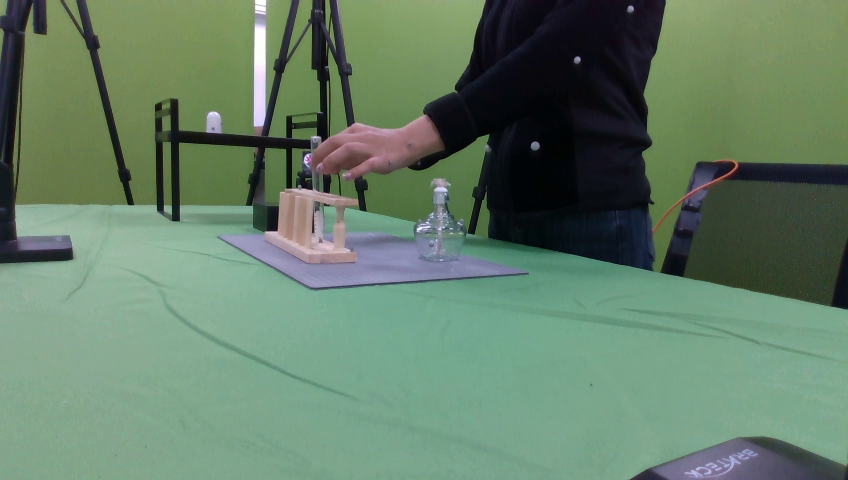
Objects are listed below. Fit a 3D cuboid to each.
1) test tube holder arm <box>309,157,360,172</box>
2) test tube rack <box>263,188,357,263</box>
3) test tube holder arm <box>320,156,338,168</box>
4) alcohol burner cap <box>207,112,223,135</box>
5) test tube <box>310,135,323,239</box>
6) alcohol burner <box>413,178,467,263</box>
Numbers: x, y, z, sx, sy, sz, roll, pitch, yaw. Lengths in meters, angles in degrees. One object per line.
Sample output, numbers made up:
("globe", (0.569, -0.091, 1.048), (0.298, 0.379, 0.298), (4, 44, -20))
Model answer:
("test tube holder arm", (-0.154, -0.132, 1.066), (0.013, 0.015, 0.179), (-1, 2, 18))
("test tube rack", (-0.175, -0.028, 0.890), (0.067, 0.085, 0.241), (0, 8, -28))
("test tube holder arm", (-0.159, -0.131, 1.021), (0.010, 0.015, 0.088), (-3, 2, 5))
("alcohol burner cap", (-0.440, -0.245, 1.271), (0.034, 0.048, 0.034), (2, 8, 0))
("test tube", (-0.156, -0.076, 0.877), (0.017, 0.150, 0.017), (0, 7, 0))
("alcohol burner", (0.022, -0.029, 0.864), (0.078, 0.119, 0.078), (1, 7, 0))
